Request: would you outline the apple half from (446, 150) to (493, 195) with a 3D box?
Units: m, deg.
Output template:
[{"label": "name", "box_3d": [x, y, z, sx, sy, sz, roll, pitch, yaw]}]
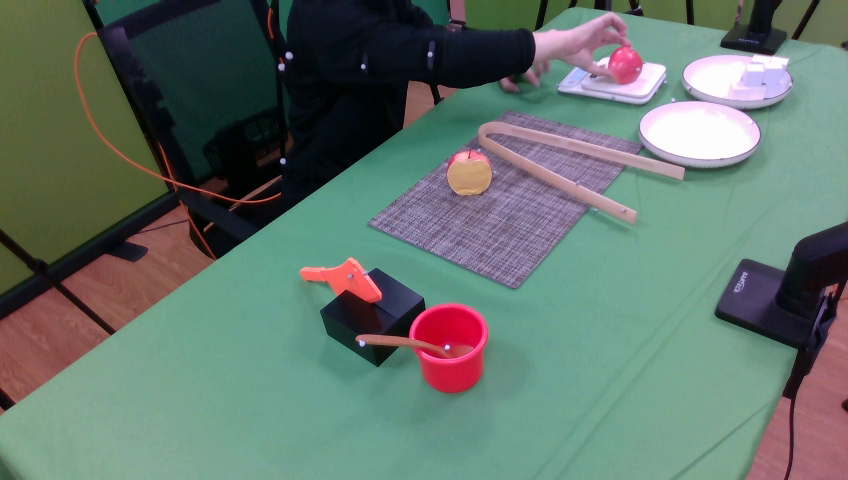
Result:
[{"label": "apple half", "box_3d": [0.080, -0.124, 1.065, 0.081, 0.075, 0.053, -7, 37, 7]}]

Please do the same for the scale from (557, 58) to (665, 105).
[{"label": "scale", "box_3d": [0.407, -0.348, 1.314, 0.199, 0.032, 0.149, 19, 47, 28]}]

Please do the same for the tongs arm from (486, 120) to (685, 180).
[{"label": "tongs arm", "box_3d": [0.287, -0.171, 1.123, 0.384, 0.028, 0.028, 21, 52, 29]}]

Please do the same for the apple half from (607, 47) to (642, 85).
[{"label": "apple half", "box_3d": [0.420, -0.361, 1.249, 0.081, 0.081, 0.032, -23, 4, -18]}]

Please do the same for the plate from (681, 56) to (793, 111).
[{"label": "plate", "box_3d": [0.636, -0.317, 1.239, 0.207, 0.039, 0.206, -4, 40, 4]}]

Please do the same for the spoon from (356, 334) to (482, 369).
[{"label": "spoon", "box_3d": [-0.001, 0.130, 0.731, 0.195, 0.021, 0.041, 22, 28, -39]}]

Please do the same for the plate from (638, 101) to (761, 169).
[{"label": "plate", "box_3d": [0.500, -0.189, 1.111, 0.209, 0.038, 0.208, -4, 41, 4]}]

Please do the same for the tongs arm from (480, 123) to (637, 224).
[{"label": "tongs arm", "box_3d": [0.227, -0.128, 1.080, 0.051, 0.026, 0.381, -33, 46, -26]}]

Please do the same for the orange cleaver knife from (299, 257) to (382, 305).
[{"label": "orange cleaver knife", "box_3d": [-0.124, 0.061, 0.872, 0.012, 0.077, 0.210, -38, 17, -30]}]
